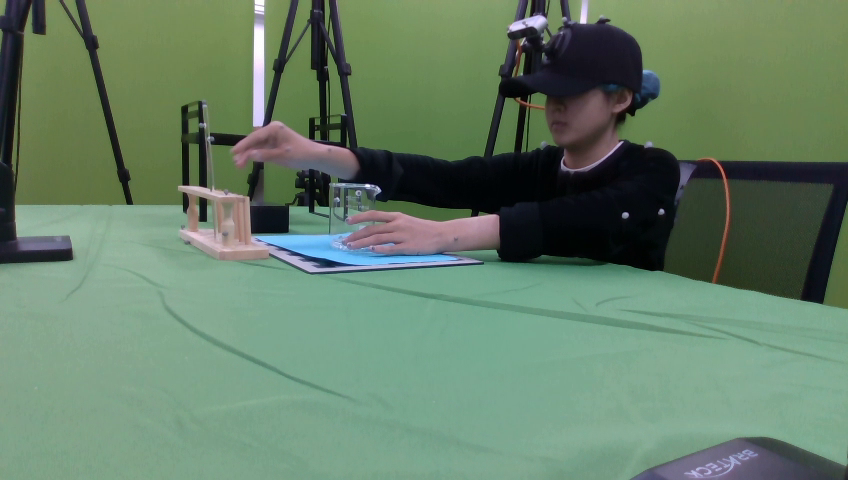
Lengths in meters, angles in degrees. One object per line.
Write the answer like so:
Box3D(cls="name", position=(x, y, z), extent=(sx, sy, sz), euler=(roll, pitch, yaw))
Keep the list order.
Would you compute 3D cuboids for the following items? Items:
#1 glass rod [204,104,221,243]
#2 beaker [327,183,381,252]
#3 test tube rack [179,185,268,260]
Box3D(cls="glass rod", position=(-0.299, -0.091, 0.851), extent=(0.008, 0.199, 0.008), euler=(-5, 1, 0))
Box3D(cls="beaker", position=(-0.108, -0.035, 0.921), extent=(0.084, 0.100, 0.074), euler=(6, 8, 14))
Box3D(cls="test tube rack", position=(-0.303, -0.031, 0.898), extent=(0.067, 0.085, 0.241), euler=(-2, 9, -33))
